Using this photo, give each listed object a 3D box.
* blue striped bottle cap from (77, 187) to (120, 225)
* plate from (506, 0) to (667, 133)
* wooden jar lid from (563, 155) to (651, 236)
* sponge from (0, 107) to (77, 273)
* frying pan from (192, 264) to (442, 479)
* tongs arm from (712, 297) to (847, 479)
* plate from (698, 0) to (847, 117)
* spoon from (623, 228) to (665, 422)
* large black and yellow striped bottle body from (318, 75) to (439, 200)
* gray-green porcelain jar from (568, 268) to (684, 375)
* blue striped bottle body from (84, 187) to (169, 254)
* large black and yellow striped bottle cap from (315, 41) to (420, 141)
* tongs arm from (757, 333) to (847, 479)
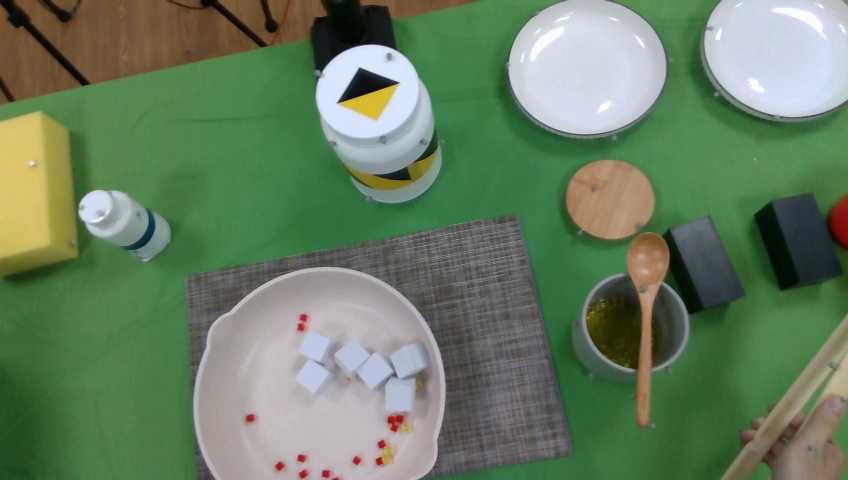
[{"bbox_3d":[-0.394,-0.042,0.732,0.044,0.021,0.044,-1,76,6],"label":"blue striped bottle cap"},{"bbox_3d":[0.215,-0.235,0.817,0.207,0.039,0.206,-2,74,6],"label":"plate"},{"bbox_3d":[0.232,-0.056,0.774,0.108,0.021,0.108,-1,76,6],"label":"wooden jar lid"},{"bbox_3d":[-0.566,-0.069,0.843,0.118,0.061,0.205,-16,74,1],"label":"sponge"},{"bbox_3d":[-0.176,0.258,0.683,0.305,0.103,0.486,30,71,14],"label":"frying pan"},{"bbox_3d":[0.354,0.182,0.608,0.028,0.028,0.388,28,99,-12],"label":"tongs arm"},{"bbox_3d":[0.465,-0.252,0.793,0.209,0.038,0.208,-2,74,6],"label":"plate"},{"bbox_3d":[0.217,0.083,0.607,0.041,0.022,0.193,6,78,2],"label":"spoon"},{"bbox_3d":[-0.053,-0.139,0.743,0.130,0.185,0.130,-2,73,6],"label":"large black and yellow striped bottle body"},{"bbox_3d":[0.218,0.096,0.677,0.106,0.127,0.105,-2,74,6],"label":"gray-green porcelain jar"},{"bbox_3d":[-0.387,-0.027,0.781,0.063,0.121,0.062,-2,73,6],"label":"blue striped bottle body"},{"bbox_3d":[-0.062,-0.164,0.663,0.115,0.019,0.114,-2,75,6],"label":"large black and yellow striped bottle cap"},{"bbox_3d":[0.355,0.185,0.593,0.026,0.050,0.384,29,92,-8],"label":"tongs arm"}]
